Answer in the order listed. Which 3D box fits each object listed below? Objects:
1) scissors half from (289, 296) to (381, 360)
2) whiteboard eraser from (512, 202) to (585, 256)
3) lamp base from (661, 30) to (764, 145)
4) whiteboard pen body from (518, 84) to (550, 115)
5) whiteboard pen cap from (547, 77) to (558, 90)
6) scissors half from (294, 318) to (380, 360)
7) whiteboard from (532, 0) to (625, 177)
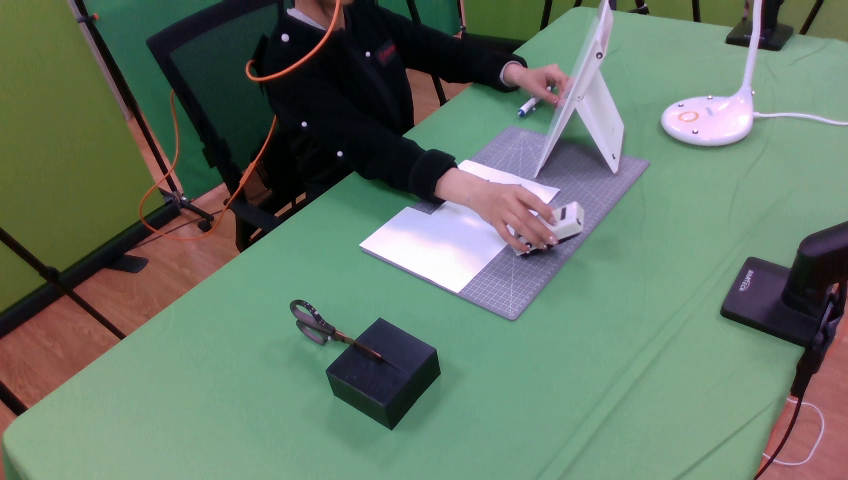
[{"bbox_3d":[-0.120,0.117,0.798,0.174,0.040,0.013,27,43,31],"label":"scissors half"},{"bbox_3d":[0.190,-0.013,0.915,0.112,0.042,0.055,-23,26,31],"label":"whiteboard eraser"},{"bbox_3d":[0.535,-0.287,1.096,0.179,0.181,0.159,-10,40,-4],"label":"lamp base"},{"bbox_3d":[0.241,-0.306,1.291,0.017,0.017,0.141,22,51,31],"label":"whiteboard pen body"},{"bbox_3d":[0.279,-0.341,1.321,0.018,0.018,0.033,22,51,31],"label":"whiteboard pen cap"},{"bbox_3d":[-0.118,0.135,0.809,0.173,0.040,0.013,9,37,44],"label":"scissors half"},{"bbox_3d":[0.320,-0.259,1.050,0.144,0.306,0.217,21,45,5],"label":"whiteboard"}]
